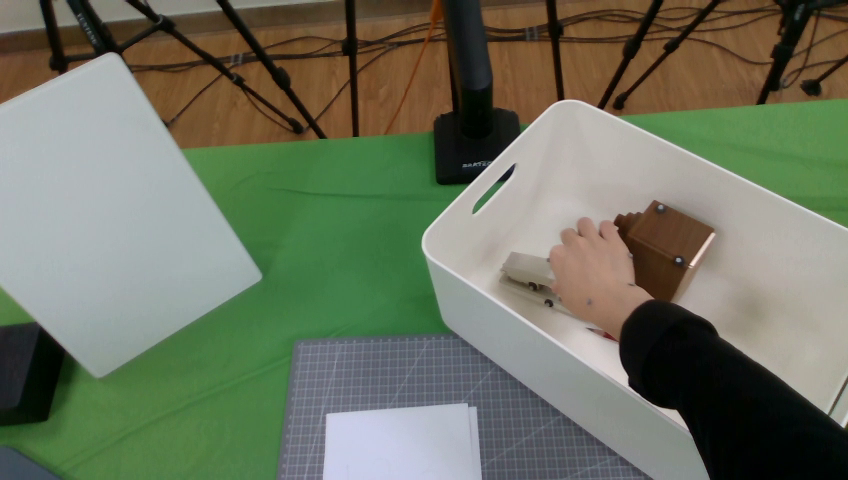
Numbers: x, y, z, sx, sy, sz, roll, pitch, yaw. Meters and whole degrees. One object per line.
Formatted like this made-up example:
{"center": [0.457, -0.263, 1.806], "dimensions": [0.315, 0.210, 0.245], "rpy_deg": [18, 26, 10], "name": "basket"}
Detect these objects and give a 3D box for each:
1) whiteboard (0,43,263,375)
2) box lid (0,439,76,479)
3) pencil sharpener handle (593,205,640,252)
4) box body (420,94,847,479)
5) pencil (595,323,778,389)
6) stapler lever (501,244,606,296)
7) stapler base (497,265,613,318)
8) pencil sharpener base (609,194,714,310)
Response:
{"center": [-0.361, -0.043, 0.672], "dimensions": [0.217, 0.309, 0.142], "rpy_deg": [-33, 41, -14], "name": "whiteboard"}
{"center": [-0.435, 0.392, 0.540], "dimensions": [0.262, 0.015, 0.370], "rpy_deg": [20, 61, 18], "name": "box lid"}
{"center": [0.206, -0.016, 0.658], "dimensions": [0.030, 0.068, 0.036], "rpy_deg": [33, 51, 25], "name": "pencil sharpener handle"}
{"center": [0.211, 0.050, 0.602], "dimensions": [0.361, 0.162, 0.253], "rpy_deg": [34, 66, 24], "name": "box body"}
{"center": [0.267, 0.118, 0.639], "dimensions": [0.193, 0.012, 0.012], "rpy_deg": [18, 60, 20], "name": "pencil"}
{"center": [0.140, 0.028, 0.659], "dimensions": [0.117, 0.040, 0.026], "rpy_deg": [21, 58, 27], "name": "stapler lever"}
{"center": [0.146, 0.045, 0.679], "dimensions": [0.129, 0.025, 0.041], "rpy_deg": [21, 58, 26], "name": "stapler base"}
{"center": [0.248, 0.014, 0.649], "dimensions": [0.076, 0.108, 0.061], "rpy_deg": [33, 64, 25], "name": "pencil sharpener base"}
